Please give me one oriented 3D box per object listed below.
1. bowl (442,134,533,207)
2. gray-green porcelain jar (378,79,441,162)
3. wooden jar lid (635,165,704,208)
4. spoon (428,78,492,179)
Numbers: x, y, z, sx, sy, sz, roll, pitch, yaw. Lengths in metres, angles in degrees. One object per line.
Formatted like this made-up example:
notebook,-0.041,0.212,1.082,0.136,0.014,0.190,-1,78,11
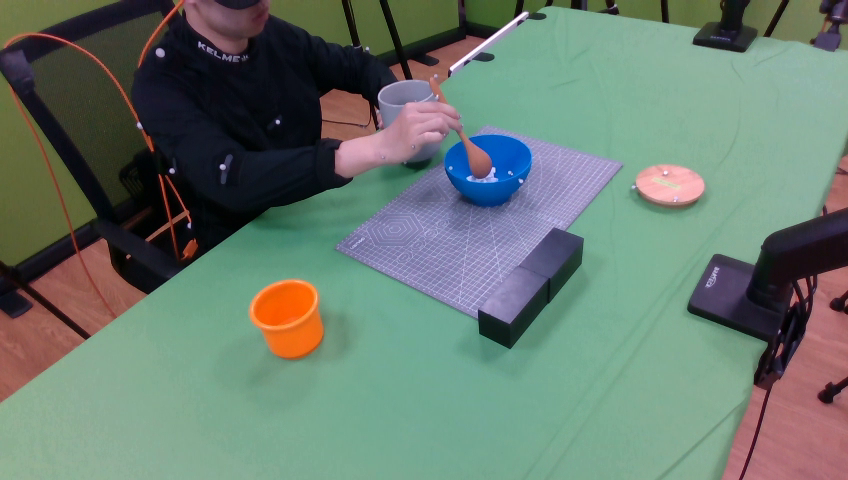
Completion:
bowl,0.110,-0.109,1.033,0.151,0.077,0.150,-4,41,4
gray-green porcelain jar,-0.024,-0.218,1.125,0.106,0.127,0.105,-5,39,5
wooden jar lid,0.410,-0.089,1.014,0.108,0.021,0.108,-5,42,5
spoon,0.056,-0.176,0.971,0.041,0.195,0.021,-39,25,-6
